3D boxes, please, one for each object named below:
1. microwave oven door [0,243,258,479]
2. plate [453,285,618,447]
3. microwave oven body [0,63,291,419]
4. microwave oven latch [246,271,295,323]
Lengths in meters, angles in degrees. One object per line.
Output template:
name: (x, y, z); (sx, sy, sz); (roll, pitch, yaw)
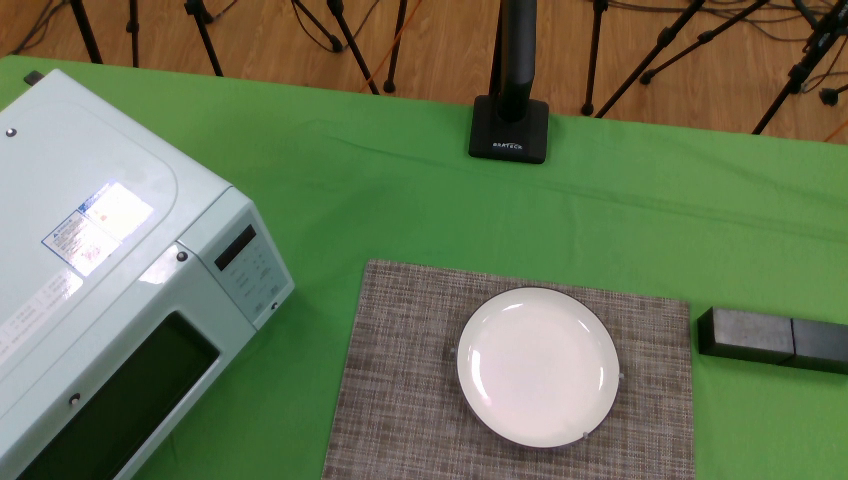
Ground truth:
microwave oven door: (-0.333, 0.185, 0.632); (0.039, 0.245, 0.355); (32, 68, 15)
plate: (0.140, 0.160, 0.778); (0.208, 0.039, 0.206); (0, 64, -1)
microwave oven body: (-0.429, 0.081, 0.687); (0.324, 0.262, 0.440); (33, 69, 14)
microwave oven latch: (-0.205, 0.070, 0.802); (0.030, 0.030, 0.079); (34, 69, 14)
